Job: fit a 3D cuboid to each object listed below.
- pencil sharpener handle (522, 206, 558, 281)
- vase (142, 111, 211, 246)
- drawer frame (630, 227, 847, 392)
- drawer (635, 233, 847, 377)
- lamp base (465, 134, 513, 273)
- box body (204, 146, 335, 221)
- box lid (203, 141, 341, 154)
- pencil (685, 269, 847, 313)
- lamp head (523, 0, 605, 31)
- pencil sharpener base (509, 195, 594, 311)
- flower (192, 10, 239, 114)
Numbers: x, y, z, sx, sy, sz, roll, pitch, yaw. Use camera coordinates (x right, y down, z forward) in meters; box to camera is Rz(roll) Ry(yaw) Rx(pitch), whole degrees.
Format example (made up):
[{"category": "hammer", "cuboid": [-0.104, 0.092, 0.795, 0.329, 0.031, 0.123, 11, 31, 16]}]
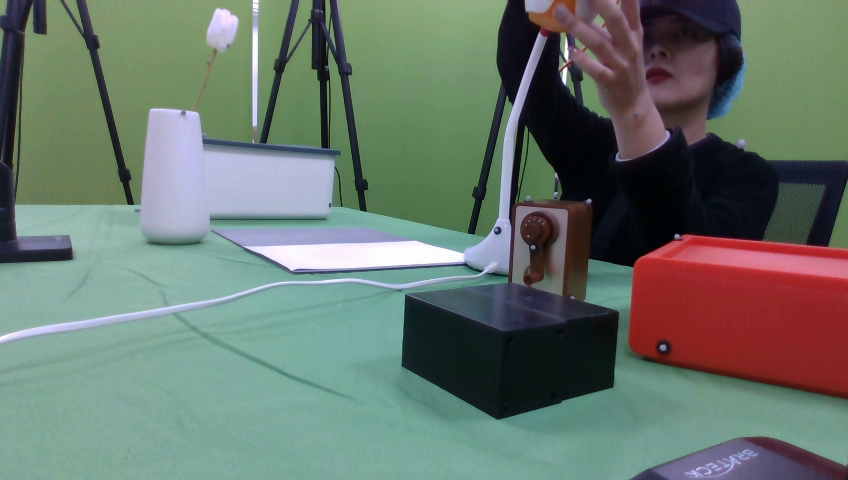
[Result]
[{"category": "pencil sharpener handle", "cuboid": [0.102, 0.003, 0.555, 0.036, 0.067, 0.031, 0, 5, 31]}, {"category": "vase", "cuboid": [-0.378, -0.093, 0.920, 0.098, 0.200, 0.098, 2, 9, 0]}, {"category": "drawer frame", "cuboid": [0.292, 0.043, 0.484, 0.201, 0.082, 0.214, 7, 9, 29]}, {"category": "drawer", "cuboid": [0.292, 0.044, 0.488, 0.193, 0.073, 0.213, 7, 9, 30]}, {"category": "lamp base", "cuboid": [0.133, -0.052, 0.809, 0.160, 0.180, 0.180, 6, 12, 26]}, {"category": "box body", "cuboid": [-0.411, -0.135, 1.386, 0.366, 0.160, 0.253, -2, 9, -29]}, {"category": "box lid", "cuboid": [-0.396, -0.212, 1.373, 0.373, 0.015, 0.262, -1, 9, -29]}, {"category": "pencil", "cuboid": [0.308, 0.045, 0.516, 0.194, 0.012, 0.012, 13, 5, -11]}, {"category": "lamp head", "cuboid": [0.150, -0.283, 0.631, 0.112, 0.123, 0.112, 13, 18, -4]}, {"category": "pencil sharpener base", "cuboid": [0.126, 0.011, 0.601, 0.061, 0.107, 0.077, 7, 9, 30]}, {"category": "flower", "cuboid": [-0.354, -0.174, 0.915, 0.038, 0.361, 0.044, 18, -3, 12]}]
